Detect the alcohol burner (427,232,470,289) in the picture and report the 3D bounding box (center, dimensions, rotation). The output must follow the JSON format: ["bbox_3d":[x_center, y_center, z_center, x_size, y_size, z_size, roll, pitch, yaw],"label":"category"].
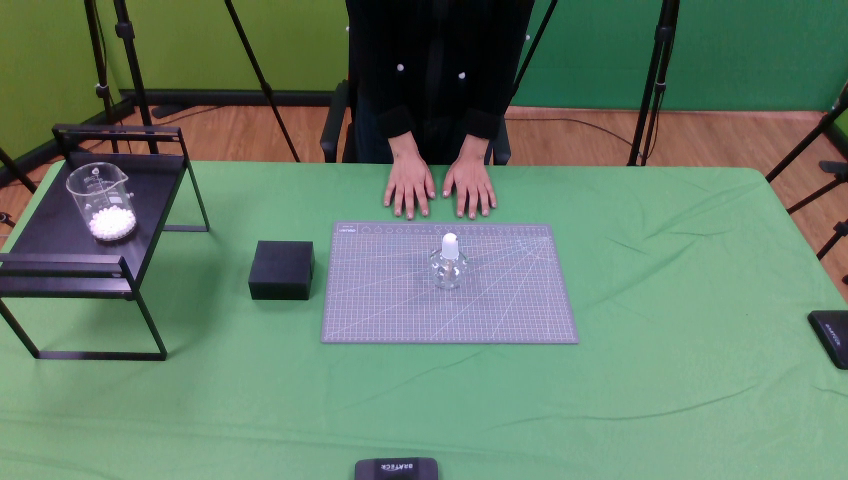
[{"bbox_3d":[0.045,0.032,1.099,0.078,0.120,0.077,0,46,0],"label":"alcohol burner"}]

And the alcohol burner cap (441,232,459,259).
[{"bbox_3d":[0.046,0.007,1.075,0.034,0.048,0.033,0,43,0],"label":"alcohol burner cap"}]

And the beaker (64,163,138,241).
[{"bbox_3d":[-0.477,-0.055,0.910,0.084,0.101,0.073,-9,48,-13],"label":"beaker"}]
